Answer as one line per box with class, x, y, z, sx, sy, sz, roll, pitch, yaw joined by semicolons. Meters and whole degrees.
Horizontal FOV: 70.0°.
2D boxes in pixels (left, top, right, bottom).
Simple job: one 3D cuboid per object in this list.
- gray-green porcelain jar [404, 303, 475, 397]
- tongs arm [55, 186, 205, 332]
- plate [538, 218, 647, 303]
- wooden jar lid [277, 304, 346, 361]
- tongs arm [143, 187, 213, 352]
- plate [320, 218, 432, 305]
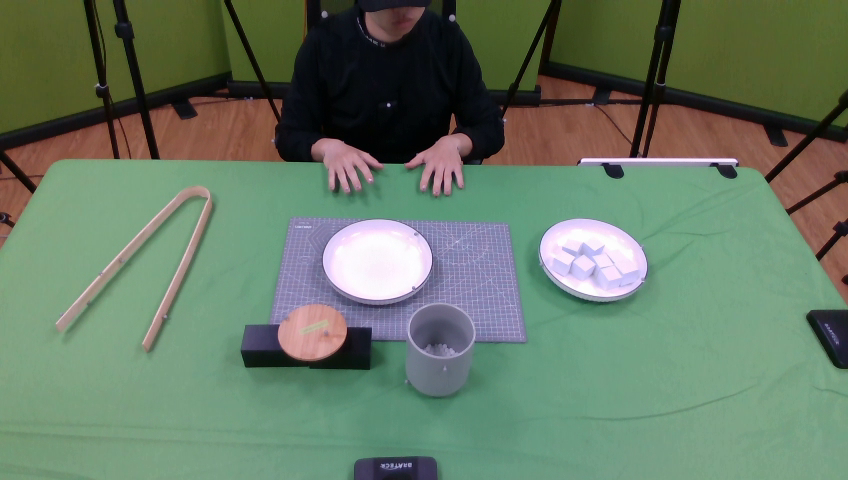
gray-green porcelain jar;0.022;0.178;0.956;0.106;0.127;0.105;2;46;-2
tongs arm;-0.530;0.022;1.126;0.051;0.026;0.383;14;46;8
plate;0.322;0.042;1.171;0.208;0.039;0.206;2;46;-2
wooden jar lid;-0.179;0.150;0.972;0.108;0.021;0.107;2;45;-2
tongs arm;-0.449;0.039;1.121;0.028;0.028;0.385;2;46;1
plate;-0.089;0.044;1.134;0.209;0.038;0.208;3;46;-2
